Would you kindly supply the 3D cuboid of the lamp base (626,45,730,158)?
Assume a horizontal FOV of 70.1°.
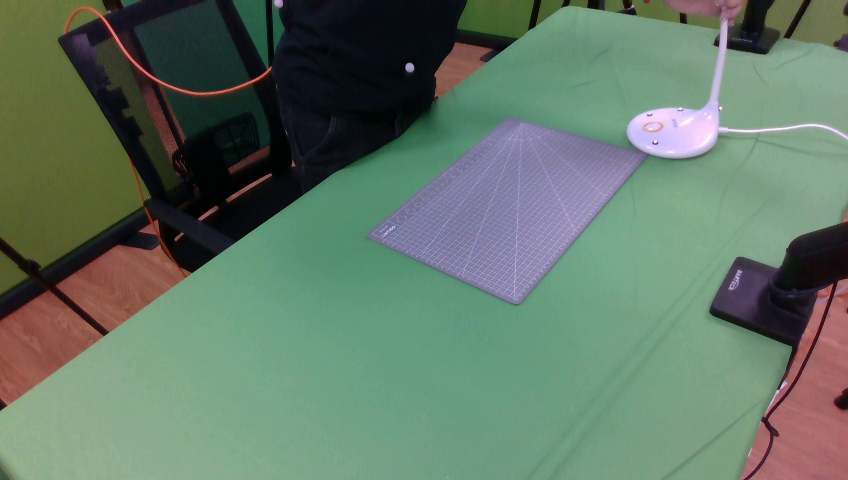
[{"bbox_3d":[0.468,-0.262,1.086,0.179,0.181,0.159,-4,41,0],"label":"lamp base"}]
